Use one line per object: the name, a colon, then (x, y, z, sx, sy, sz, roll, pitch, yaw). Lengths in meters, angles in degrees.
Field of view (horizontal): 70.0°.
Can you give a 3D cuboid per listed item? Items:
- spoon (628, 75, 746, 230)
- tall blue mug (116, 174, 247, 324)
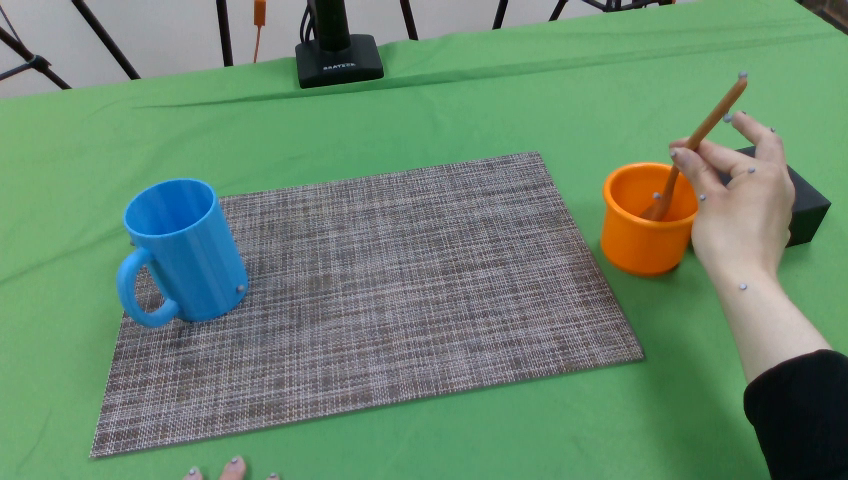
spoon: (0.219, -0.067, 0.520, 0.021, 0.195, 0.041, 25, 59, 12)
tall blue mug: (-0.211, 0.017, 0.535, 0.078, 0.109, 0.106, -2, 45, 0)
